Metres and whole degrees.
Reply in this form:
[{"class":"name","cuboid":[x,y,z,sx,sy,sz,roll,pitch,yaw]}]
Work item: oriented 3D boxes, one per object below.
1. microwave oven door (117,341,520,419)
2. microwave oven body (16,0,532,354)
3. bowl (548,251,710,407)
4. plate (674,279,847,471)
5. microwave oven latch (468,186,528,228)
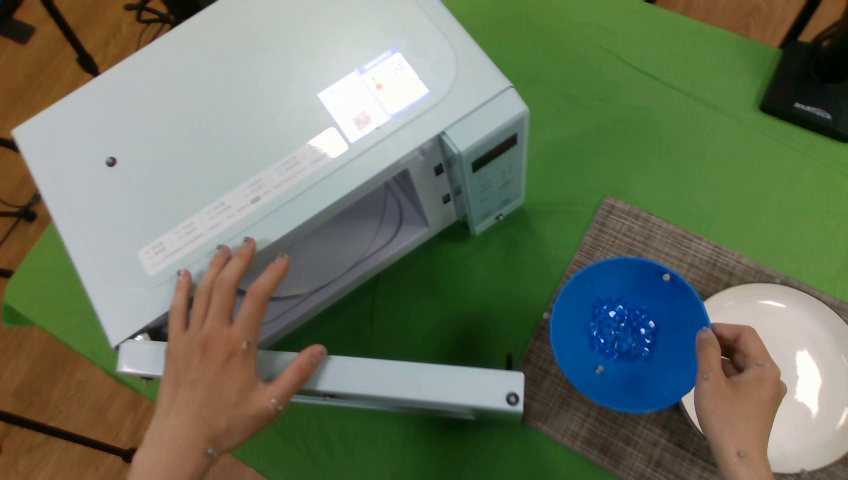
[{"class":"microwave oven door","cuboid":[-0.080,0.143,0.616,0.355,0.245,0.039,3,72,8]},{"class":"microwave oven body","cuboid":[-0.148,-0.095,0.705,0.442,0.262,0.323,-34,72,-3]},{"class":"bowl","cuboid":[0.199,0.092,0.614,0.151,0.077,0.150,-2,76,7]},{"class":"plate","cuboid":[0.377,0.148,0.677,0.207,0.039,0.206,-2,72,7]},{"class":"microwave oven latch","cuboid":[0.093,-0.049,0.761,0.079,0.030,0.030,-31,72,-2]}]
